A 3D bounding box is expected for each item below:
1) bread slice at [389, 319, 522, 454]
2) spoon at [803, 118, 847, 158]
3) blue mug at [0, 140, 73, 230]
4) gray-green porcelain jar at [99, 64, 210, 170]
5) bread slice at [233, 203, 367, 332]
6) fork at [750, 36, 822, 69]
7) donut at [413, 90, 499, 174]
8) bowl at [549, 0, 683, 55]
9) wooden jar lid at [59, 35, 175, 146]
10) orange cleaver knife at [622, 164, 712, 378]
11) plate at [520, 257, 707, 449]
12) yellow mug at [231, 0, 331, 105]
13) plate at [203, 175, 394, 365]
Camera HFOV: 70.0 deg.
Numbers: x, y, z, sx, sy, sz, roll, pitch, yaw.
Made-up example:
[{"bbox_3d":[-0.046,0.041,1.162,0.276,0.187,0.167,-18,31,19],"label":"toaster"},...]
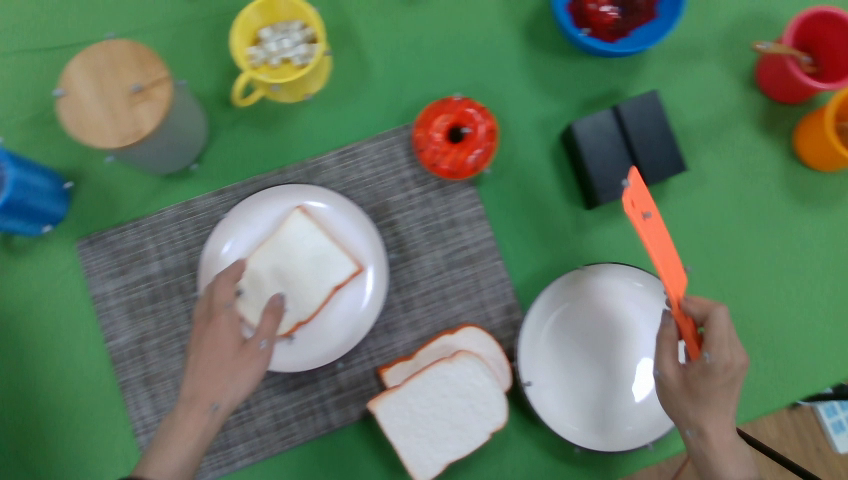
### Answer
[{"bbox_3d":[0.044,0.146,0.640,0.134,0.018,0.106,-25,81,-33],"label":"bread slice"},{"bbox_3d":[0.521,-0.144,0.663,0.022,0.193,0.041,-19,82,-48],"label":"spoon"},{"bbox_3d":[-0.454,-0.046,0.642,0.082,0.106,0.116,44,85,3],"label":"blue mug"},{"bbox_3d":[-0.295,-0.135,0.646,0.106,0.126,0.105,0,84,-2],"label":"gray-green porcelain jar"},{"bbox_3d":[-0.145,0.038,0.677,0.105,0.019,0.131,43,83,3],"label":"bread slice"},{"bbox_3d":[0.401,-0.208,0.666,0.208,0.018,0.028,-9,83,-44],"label":"fork"},{"bbox_3d":[0.037,-0.123,0.693,0.099,0.048,0.099,0,85,-2],"label":"donut"},{"bbox_3d":[0.211,-0.276,0.700,0.151,0.077,0.151,0,85,-2],"label":"bowl"},{"bbox_3d":[-0.293,-0.142,0.584,0.108,0.021,0.108,0,83,-1],"label":"wooden jar lid"},{"bbox_3d":[0.234,0.029,0.577,0.012,0.077,0.212,-19,102,38],"label":"orange cleaver knife"},{"bbox_3d":[0.209,0.125,0.682,0.209,0.038,0.208,0,85,-1],"label":"plate"},{"bbox_3d":[-0.170,-0.206,0.687,0.100,0.064,0.131,38,85,2],"label":"yellow mug"},{"bbox_3d":[-0.136,0.033,0.676,0.208,0.039,0.207,0,84,-2],"label":"plate"}]
